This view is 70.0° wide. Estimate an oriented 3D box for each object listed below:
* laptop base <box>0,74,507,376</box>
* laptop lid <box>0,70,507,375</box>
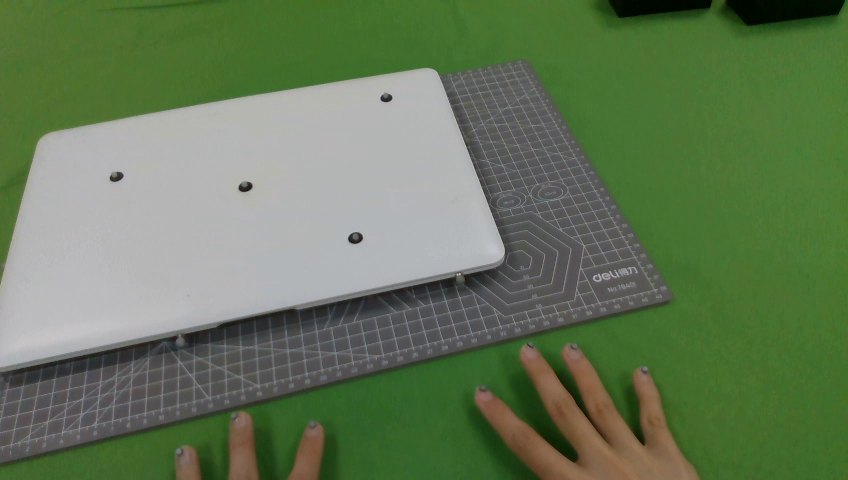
[{"bbox_3d":[-0.135,-0.029,0.483,0.355,0.023,0.233,-12,54,-6],"label":"laptop base"},{"bbox_3d":[-0.135,-0.035,0.472,0.357,0.013,0.239,-10,52,-5],"label":"laptop lid"}]
